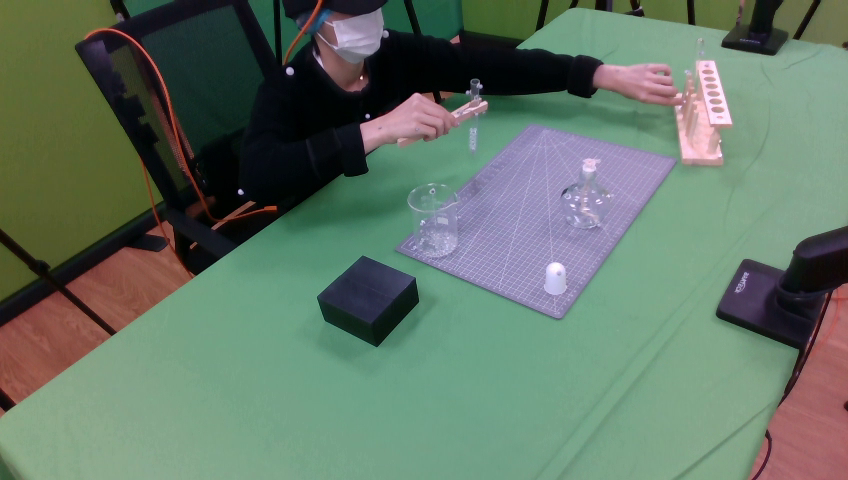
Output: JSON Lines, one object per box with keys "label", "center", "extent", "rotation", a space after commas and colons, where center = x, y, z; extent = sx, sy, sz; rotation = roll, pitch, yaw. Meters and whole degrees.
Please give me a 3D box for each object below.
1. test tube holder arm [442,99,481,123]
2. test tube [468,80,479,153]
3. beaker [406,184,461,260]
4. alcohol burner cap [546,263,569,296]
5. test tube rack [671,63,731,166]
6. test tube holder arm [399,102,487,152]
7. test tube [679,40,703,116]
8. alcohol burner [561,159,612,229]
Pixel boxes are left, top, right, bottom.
{"label": "test tube holder arm", "center": [0.064, -0.213, 1.021], "extent": [0.088, 0.015, 0.010], "rotation": [-36, 50, -28]}
{"label": "test tube", "center": [0.085, -0.210, 1.045], "extent": [0.017, 0.151, 0.017], "rotation": [-1, 50, 2]}
{"label": "beaker", "center": [0.019, -0.026, 0.939], "extent": [0.084, 0.101, 0.074], "rotation": [1, 41, 9]}
{"label": "alcohol burner cap", "center": [0.191, 0.053, 0.862], "extent": [0.034, 0.048, 0.033], "rotation": [-5, 40, 4]}
{"label": "test tube rack", "center": [0.513, -0.240, 1.132], "extent": [0.066, 0.085, 0.242], "rotation": [4, 41, 14]}
{"label": "test tube holder arm", "center": [0.033, -0.188, 0.999], "extent": [0.179, 0.015, 0.013], "rotation": [-31, 48, -24]}
{"label": "test tube", "center": [0.502, -0.303, 1.138], "extent": [0.017, 0.151, 0.017], "rotation": [-4, 40, 4]}
{"label": "alcohol burner", "center": [0.257, -0.077, 0.951], "extent": [0.078, 0.119, 0.077], "rotation": [-3, 40, 3]}
